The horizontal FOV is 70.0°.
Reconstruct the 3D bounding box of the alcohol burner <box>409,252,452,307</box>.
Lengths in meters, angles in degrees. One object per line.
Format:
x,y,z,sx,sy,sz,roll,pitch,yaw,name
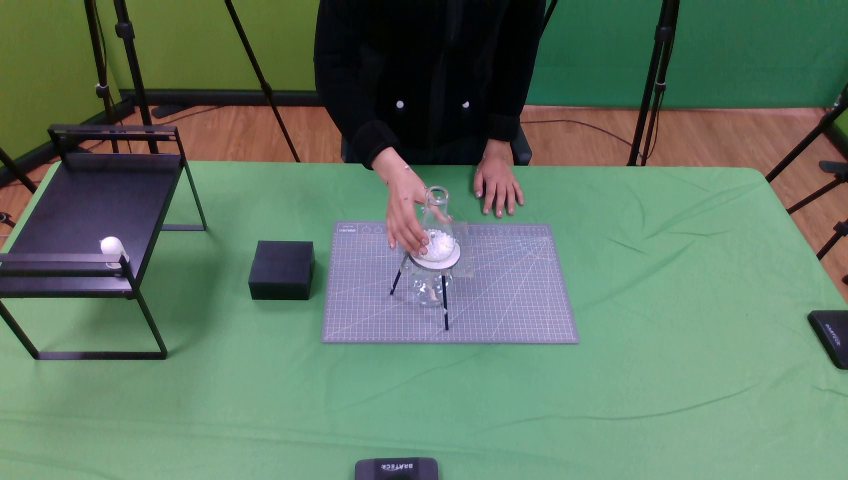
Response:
0.013,0.063,1.072,0.078,0.119,0.077,4,45,-3,alcohol burner

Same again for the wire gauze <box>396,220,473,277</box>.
0.016,0.012,1.013,0.125,0.011,0.120,1,47,-5,wire gauze

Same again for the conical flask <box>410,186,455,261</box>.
0.017,-0.030,0.969,0.075,0.122,0.075,2,47,-2,conical flask

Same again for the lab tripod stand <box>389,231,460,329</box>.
0.015,0.063,1.058,0.148,0.132,0.147,3,46,-3,lab tripod stand

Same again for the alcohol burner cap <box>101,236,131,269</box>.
-0.452,0.016,0.883,0.034,0.048,0.033,2,45,-2,alcohol burner cap
